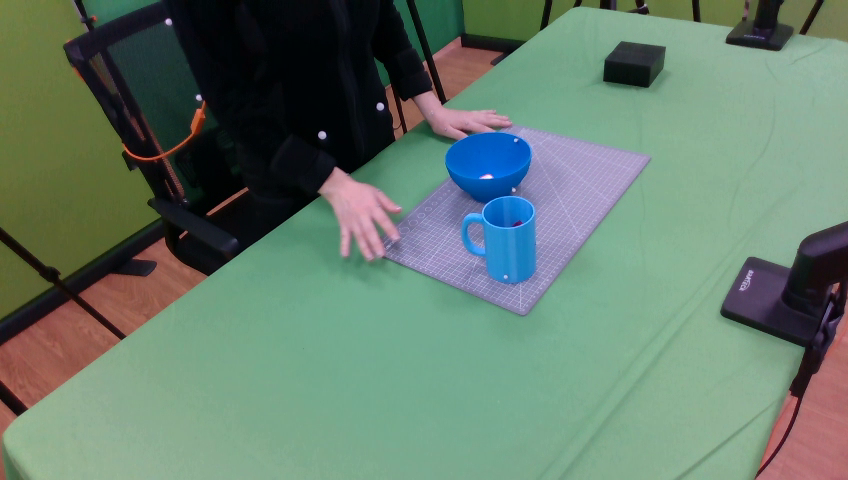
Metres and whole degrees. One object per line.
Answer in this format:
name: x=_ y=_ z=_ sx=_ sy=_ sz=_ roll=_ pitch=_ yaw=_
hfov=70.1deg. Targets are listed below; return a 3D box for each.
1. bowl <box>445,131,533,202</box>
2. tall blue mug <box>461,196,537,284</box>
bowl: x=0.115 y=-0.119 z=1.056 sx=0.151 sy=0.077 sz=0.150 roll=-6 pitch=40 yaw=5
tall blue mug: x=0.112 y=0.002 z=0.890 sx=0.107 sy=0.108 sz=0.077 roll=-10 pitch=41 yaw=0
